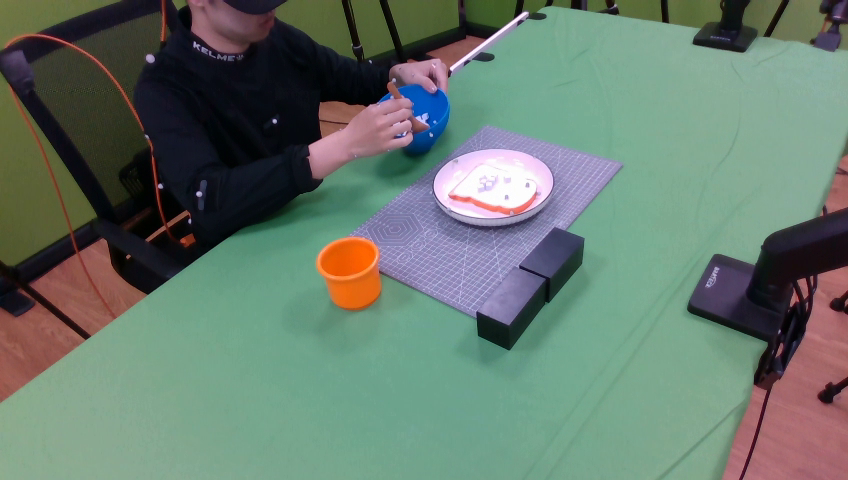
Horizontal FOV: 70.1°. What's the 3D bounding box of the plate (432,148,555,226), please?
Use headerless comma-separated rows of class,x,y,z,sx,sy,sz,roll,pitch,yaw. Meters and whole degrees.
plate,0.119,-0.087,1.037,0.209,0.038,0.208,-4,40,4

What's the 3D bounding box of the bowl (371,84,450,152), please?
bowl,-0.019,-0.223,1.167,0.151,0.077,0.150,-7,51,9

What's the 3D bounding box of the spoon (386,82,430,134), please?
spoon,-0.028,-0.223,1.064,0.041,0.195,0.021,-28,62,10

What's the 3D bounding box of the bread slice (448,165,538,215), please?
bread slice,0.126,-0.085,1.038,0.133,0.018,0.107,16,45,27
